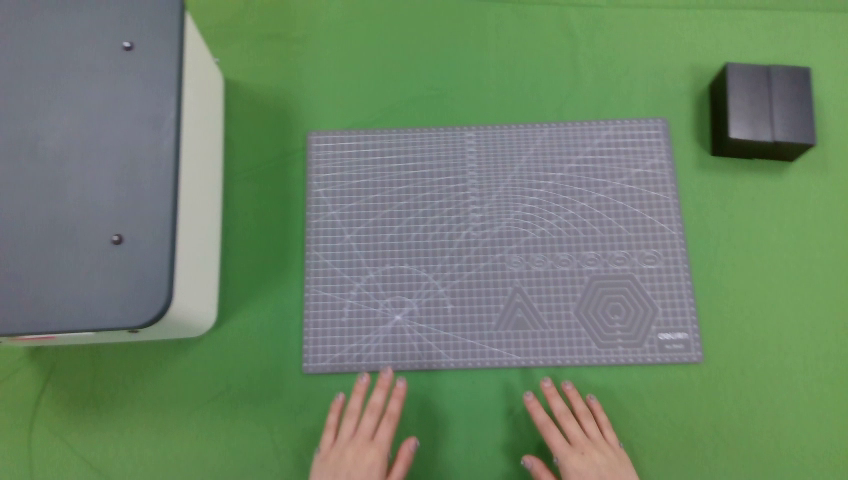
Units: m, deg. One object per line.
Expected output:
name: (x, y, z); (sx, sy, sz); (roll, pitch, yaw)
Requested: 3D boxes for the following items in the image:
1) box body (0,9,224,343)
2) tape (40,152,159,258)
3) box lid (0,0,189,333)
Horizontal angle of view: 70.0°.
box body: (-0.367, -0.072, 0.665); (0.254, 0.161, 0.362); (-3, 75, 0)
tape: (-0.376, -0.040, 0.706); (0.117, 0.053, 0.116); (-1, 73, 3)
box lid: (-0.369, -0.095, 0.595); (0.263, 0.015, 0.369); (-3, 76, 0)
